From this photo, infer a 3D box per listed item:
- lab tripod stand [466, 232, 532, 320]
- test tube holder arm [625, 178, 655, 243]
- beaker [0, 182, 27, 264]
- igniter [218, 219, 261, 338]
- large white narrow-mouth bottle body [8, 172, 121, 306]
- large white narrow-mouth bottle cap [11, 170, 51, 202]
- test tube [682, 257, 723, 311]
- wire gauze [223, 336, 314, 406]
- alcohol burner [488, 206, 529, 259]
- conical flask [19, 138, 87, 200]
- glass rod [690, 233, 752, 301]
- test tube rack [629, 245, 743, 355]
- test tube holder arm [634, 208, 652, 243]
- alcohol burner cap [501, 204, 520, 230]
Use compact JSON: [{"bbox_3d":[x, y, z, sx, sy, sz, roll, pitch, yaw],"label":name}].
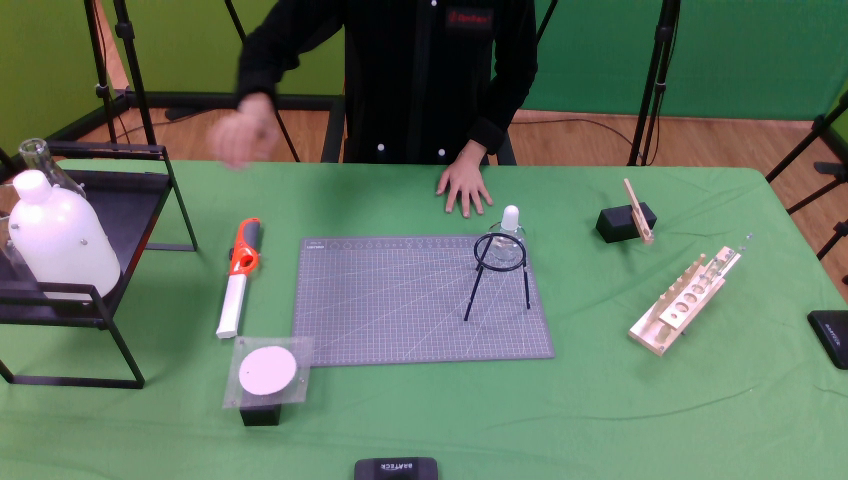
[{"bbox_3d":[0.125,0.059,1.065,0.148,0.132,0.147,1,45,0],"label":"lab tripod stand"},{"bbox_3d":[0.433,-0.062,1.220,0.013,0.015,0.177,1,47,-3],"label":"test tube holder arm"},{"bbox_3d":[-0.582,-0.019,0.870,0.074,0.101,0.083,5,46,1],"label":"beaker"},{"bbox_3d":[-0.336,0.060,1.111,0.057,0.025,0.274,-8,46,4],"label":"igniter"},{"bbox_3d":[-0.479,-0.007,0.798,0.102,0.195,0.101,2,46,-2],"label":"large white narrow-mouth bottle body"},{"bbox_3d":[-0.477,-0.066,0.736,0.038,0.024,0.037,2,46,-2],"label":"large white narrow-mouth bottle cap"},{"bbox_3d":[0.475,0.080,1.037,0.017,0.151,0.017,1,51,-1],"label":"test tube"},{"bbox_3d":[-0.237,0.197,0.931,0.121,0.011,0.124,1,45,-4],"label":"wire gauze"},{"bbox_3d":[0.163,-0.020,1.158,0.078,0.120,0.077,1,47,0],"label":"alcohol burner"},{"bbox_3d":[-0.576,-0.097,0.930,0.075,0.122,0.075,2,46,-2],"label":"conical flask"},{"bbox_3d":[0.507,0.053,1.041,0.008,0.200,0.008,5,51,-6],"label":"glass rod"},{"bbox_3d":[0.474,0.095,1.091,0.242,0.085,0.066,-34,56,-31],"label":"test tube rack"},{"bbox_3d":[0.428,-0.030,1.189,0.010,0.015,0.087,2,47,-3],"label":"test tube holder arm"},{"bbox_3d":[0.164,-0.046,1.133,0.034,0.048,0.033,2,40,-2],"label":"alcohol burner cap"}]
